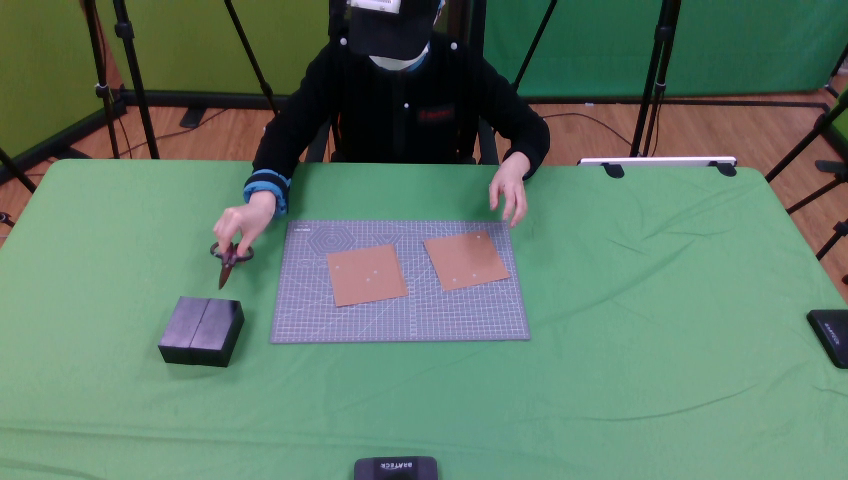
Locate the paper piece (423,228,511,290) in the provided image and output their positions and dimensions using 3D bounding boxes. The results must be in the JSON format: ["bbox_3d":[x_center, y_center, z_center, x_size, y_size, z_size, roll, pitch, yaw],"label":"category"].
[{"bbox_3d":[0.082,0.034,1.177,0.138,0.009,0.135,-8,52,-15],"label":"paper piece"}]

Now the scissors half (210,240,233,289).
[{"bbox_3d":[-0.348,0.040,1.043,0.040,0.013,0.174,14,20,-25],"label":"scissors half"}]

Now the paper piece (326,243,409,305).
[{"bbox_3d":[-0.108,0.061,1.135,0.136,0.004,0.134,-8,46,-12],"label":"paper piece"}]

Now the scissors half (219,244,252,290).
[{"bbox_3d":[-0.330,0.045,1.050,0.040,0.013,0.174,15,21,-8],"label":"scissors half"}]
